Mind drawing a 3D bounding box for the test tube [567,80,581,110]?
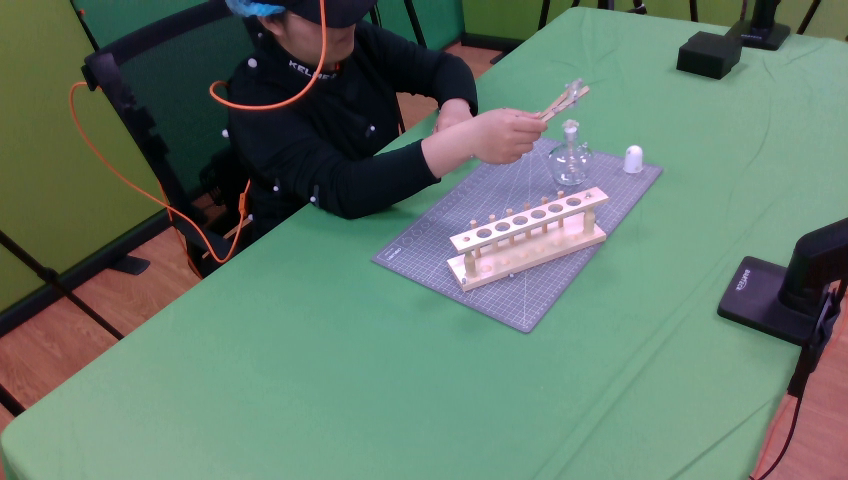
[{"bbox_3d":[0.231,-0.223,0.937,0.017,0.017,0.150,0,1,11],"label":"test tube"}]

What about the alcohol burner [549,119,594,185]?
[{"bbox_3d":[0.254,-0.155,1.043,0.078,0.120,0.077,-7,40,6],"label":"alcohol burner"}]

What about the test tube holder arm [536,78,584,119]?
[{"bbox_3d":[0.207,-0.213,0.924,0.087,0.010,0.015,-43,-4,17],"label":"test tube holder arm"}]

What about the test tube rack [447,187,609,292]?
[{"bbox_3d":[0.155,-0.011,0.913,0.243,0.085,0.066,-19,41,-11],"label":"test tube rack"}]

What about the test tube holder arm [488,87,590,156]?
[{"bbox_3d":[0.176,-0.183,0.938,0.178,0.013,0.015,-34,-2,18],"label":"test tube holder arm"}]

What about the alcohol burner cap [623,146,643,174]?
[{"bbox_3d":[0.369,-0.142,1.062,0.034,0.048,0.033,-7,40,6],"label":"alcohol burner cap"}]
